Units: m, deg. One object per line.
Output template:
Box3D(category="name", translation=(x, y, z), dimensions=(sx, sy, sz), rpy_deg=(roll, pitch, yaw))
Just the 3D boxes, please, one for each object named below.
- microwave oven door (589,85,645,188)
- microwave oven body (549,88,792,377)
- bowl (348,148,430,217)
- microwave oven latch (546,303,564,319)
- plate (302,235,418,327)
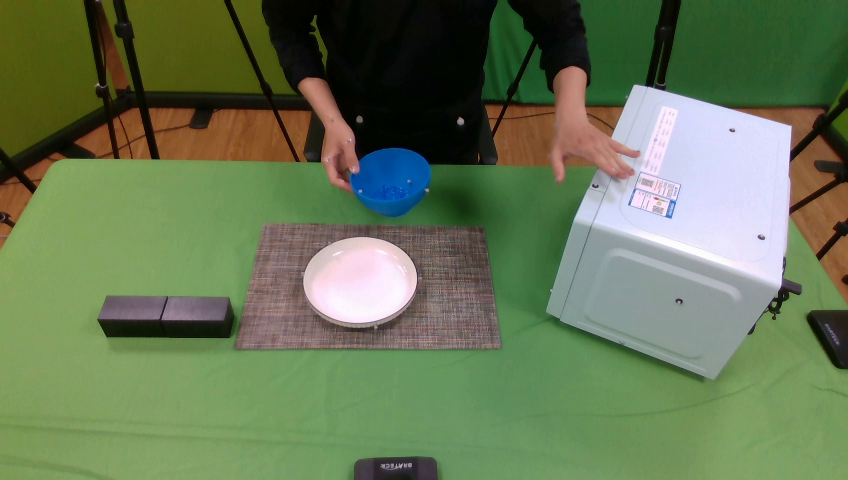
Box3D(category="microwave oven door", translation=(0.342, -0.108, 1.148), dimensions=(0.039, 0.245, 0.354), rpy_deg=(20, 48, 15))
Box3D(category="microwave oven body", translation=(0.456, -0.028, 1.088), dimensions=(0.325, 0.261, 0.440), rpy_deg=(20, 47, 16))
Box3D(category="bowl", translation=(-0.061, -0.096, 1.134), dimensions=(0.151, 0.077, 0.150), rpy_deg=(-3, 47, 3))
Box3D(category="microwave oven latch", translation=(0.242, 0.102, 1.081), dimensions=(0.030, 0.029, 0.079), rpy_deg=(22, 48, 17))
Box3D(category="plate", translation=(-0.114, 0.077, 1.098), dimensions=(0.208, 0.039, 0.206), rpy_deg=(2, 46, -2))
